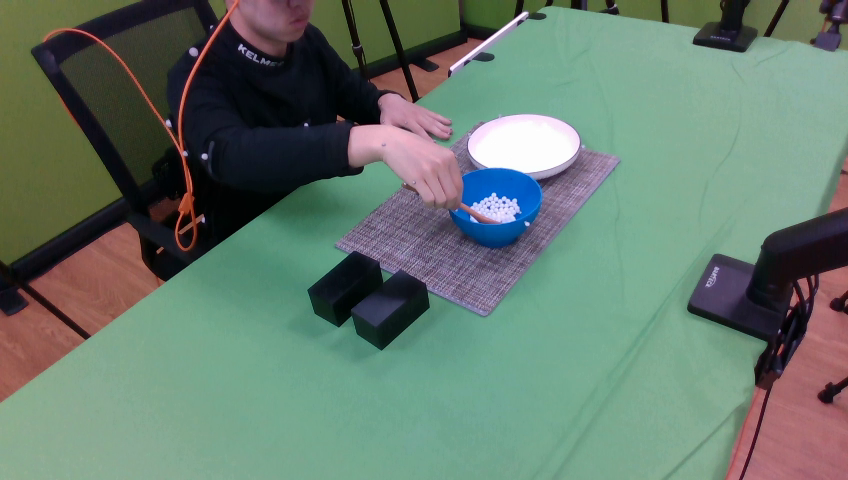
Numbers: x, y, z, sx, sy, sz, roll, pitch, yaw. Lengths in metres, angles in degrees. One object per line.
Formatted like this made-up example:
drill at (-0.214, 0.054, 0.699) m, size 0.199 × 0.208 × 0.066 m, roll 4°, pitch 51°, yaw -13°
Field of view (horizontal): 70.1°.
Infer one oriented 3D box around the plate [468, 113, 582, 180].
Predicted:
plate at (0.186, -0.169, 1.122) m, size 0.207 × 0.039 × 0.206 m, roll -4°, pitch 40°, yaw 4°

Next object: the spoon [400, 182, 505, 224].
spoon at (0.052, -0.048, 0.881) m, size 0.195 × 0.041 × 0.021 m, roll 23°, pitch 73°, yaw -20°

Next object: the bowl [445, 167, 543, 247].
bowl at (0.111, -0.042, 0.952) m, size 0.151 × 0.077 × 0.150 m, roll -4°, pitch 41°, yaw 4°
